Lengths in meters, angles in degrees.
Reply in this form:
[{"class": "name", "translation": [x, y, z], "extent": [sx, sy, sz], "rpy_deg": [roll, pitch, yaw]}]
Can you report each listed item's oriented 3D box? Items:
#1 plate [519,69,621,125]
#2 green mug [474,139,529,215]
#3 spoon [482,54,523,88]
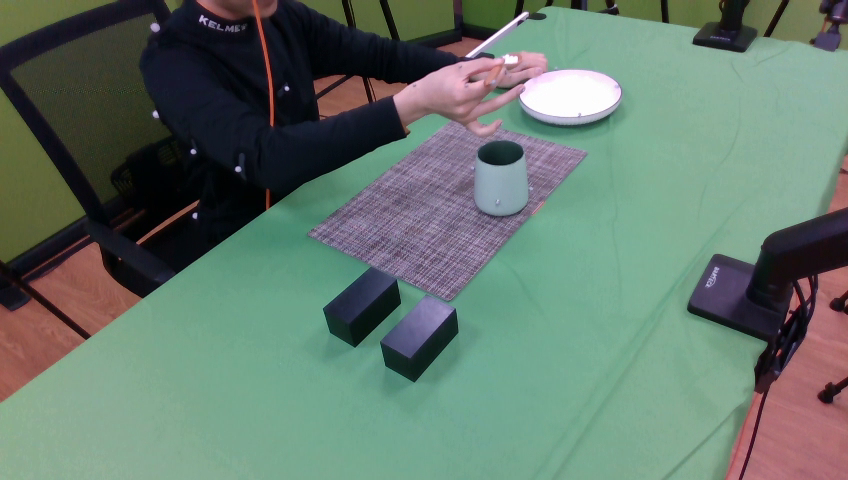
[{"class": "plate", "translation": [0.300, -0.293, 1.253], "extent": [0.209, 0.038, 0.208], "rpy_deg": [-4, 41, 4]}, {"class": "green mug", "translation": [0.126, -0.113, 1.013], "extent": [0.092, 0.105, 0.124], "rpy_deg": [-8, 41, 0]}, {"class": "spoon", "translation": [0.112, -0.255, 0.904], "extent": [0.041, 0.022, 0.194], "rpy_deg": [1, 24, 21]}]
